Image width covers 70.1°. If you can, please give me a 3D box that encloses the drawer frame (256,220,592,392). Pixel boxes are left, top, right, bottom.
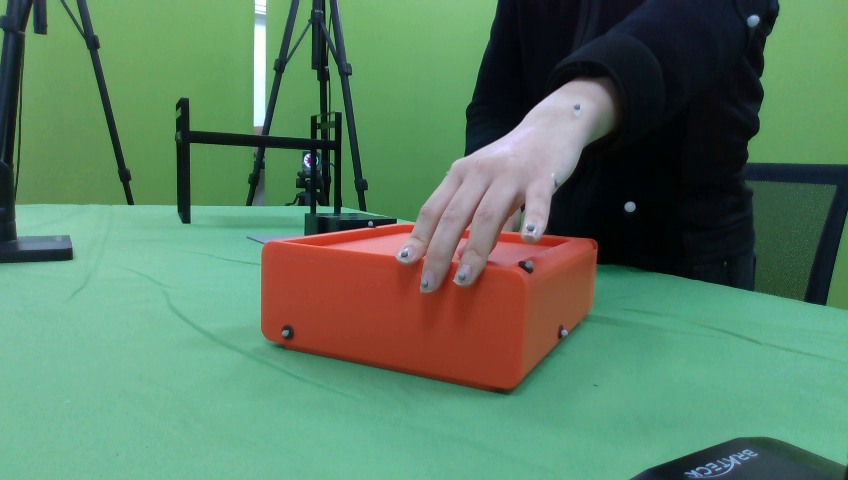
[{"bbox_3d":[0.014,0.036,0.490,0.201,0.082,0.214,6,9,25],"label":"drawer frame"}]

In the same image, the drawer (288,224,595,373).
[{"bbox_3d":[0.026,0.037,0.515,0.194,0.073,0.212,7,10,26],"label":"drawer"}]

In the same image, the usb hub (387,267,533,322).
[{"bbox_3d":[0.032,0.047,0.549,0.124,0.025,0.050,9,9,25],"label":"usb hub"}]
